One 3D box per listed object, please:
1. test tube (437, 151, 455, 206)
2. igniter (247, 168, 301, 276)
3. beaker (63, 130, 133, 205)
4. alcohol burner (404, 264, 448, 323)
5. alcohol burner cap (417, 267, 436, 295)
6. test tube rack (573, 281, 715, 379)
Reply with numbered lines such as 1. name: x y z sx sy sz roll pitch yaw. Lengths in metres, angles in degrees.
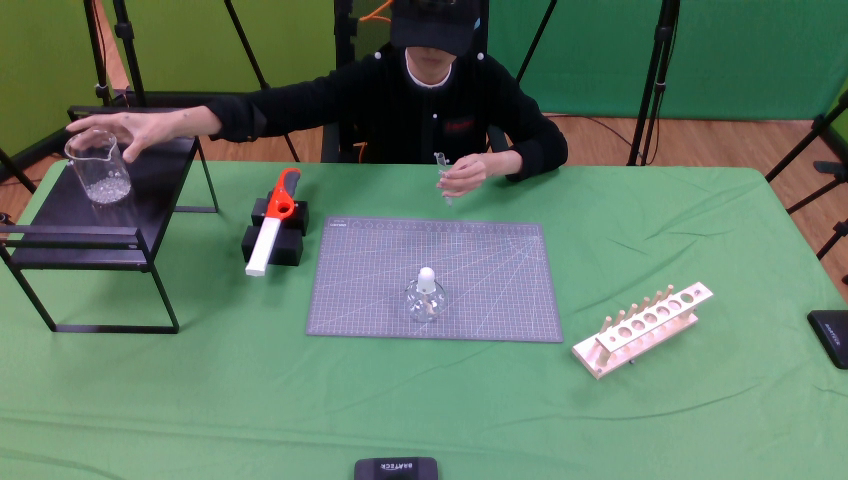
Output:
1. test tube: 0.043 -0.115 1.166 0.017 0.151 0.017 -5 55 8
2. igniter: -0.282 -0.044 1.149 0.057 0.025 0.275 8 48 -1
3. beaker: -0.512 -0.112 0.964 0.083 0.101 0.074 31 52 23
4. alcohol burner: 0.003 0.087 1.042 0.078 0.120 0.077 1 45 0
5. alcohol burner cap: 0.004 0.066 1.019 0.034 0.048 0.033 0 47 1
6. test tube rack: 0.378 0.140 1.038 0.242 0.085 0.066 -22 51 -23
